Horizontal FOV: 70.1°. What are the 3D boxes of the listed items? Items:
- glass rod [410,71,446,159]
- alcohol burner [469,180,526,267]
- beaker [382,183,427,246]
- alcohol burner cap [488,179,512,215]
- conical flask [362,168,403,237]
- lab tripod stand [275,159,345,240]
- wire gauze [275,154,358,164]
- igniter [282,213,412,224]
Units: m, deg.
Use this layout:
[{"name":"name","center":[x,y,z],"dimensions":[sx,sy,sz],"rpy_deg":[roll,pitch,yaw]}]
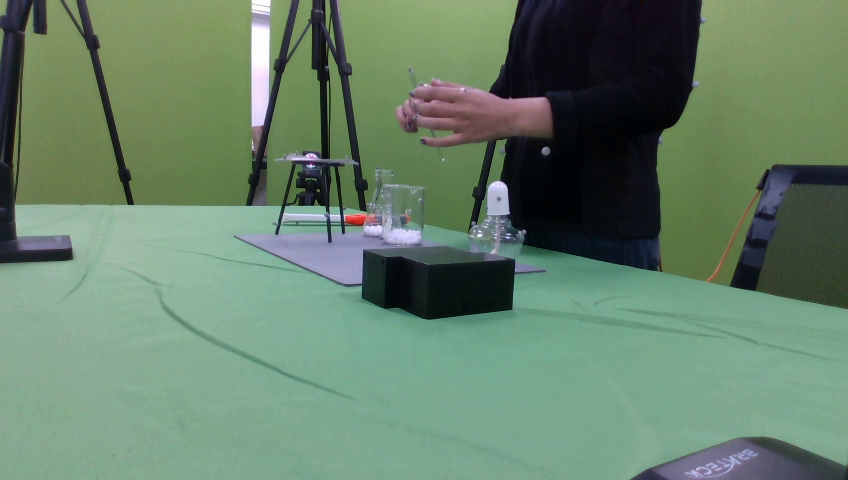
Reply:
[{"name":"glass rod","center":[0.009,-0.199,0.988],"dimensions":[0.008,0.008,0.200],"rpy_deg":[5,-31,22]},{"name":"alcohol burner","center":[0.101,-0.022,0.821],"dimensions":[0.078,0.119,0.078],"rpy_deg":[4,8,0]},{"name":"beaker","center":[-0.032,-0.044,1.007],"dimensions":[0.074,0.100,0.084],"rpy_deg":[6,7,22]},{"name":"alcohol burner cap","center":[0.101,-0.058,0.816],"dimensions":[0.034,0.048,0.034],"rpy_deg":[-4,8,1]},{"name":"conical flask","center":[-0.073,-0.069,1.096],"dimensions":[0.075,0.122,0.075],"rpy_deg":[2,7,0]},{"name":"lab tripod stand","center":[-0.181,-0.072,1.039],"dimensions":[0.148,0.131,0.148],"rpy_deg":[4,8,0]},{"name":"wire gauze","center":[-0.179,-0.137,1.028],"dimensions":[0.121,0.011,0.125],"rpy_deg":[4,8,0]},{"name":"igniter","center":[-0.159,-0.046,1.287],"dimensions":[0.278,0.025,0.057],"rpy_deg":[-1,-3,-21]}]
